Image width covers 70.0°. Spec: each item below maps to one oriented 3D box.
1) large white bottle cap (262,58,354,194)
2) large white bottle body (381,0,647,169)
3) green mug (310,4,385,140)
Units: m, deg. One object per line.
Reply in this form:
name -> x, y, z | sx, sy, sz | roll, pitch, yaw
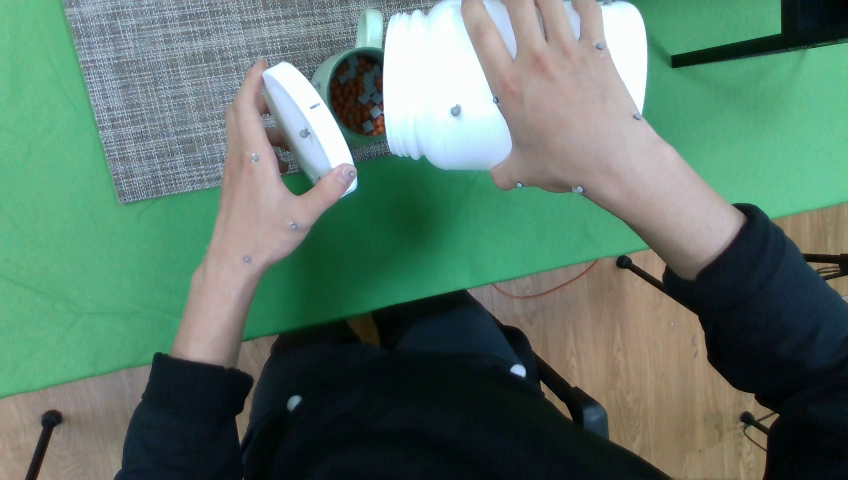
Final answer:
large white bottle cap -> -0.094, -0.091, 0.492 | 0.018, 0.114, 0.115 | -33, 107, -17
large white bottle body -> 0.066, -0.123, 0.477 | 0.184, 0.130, 0.131 | 2, 100, 5
green mug -> -0.058, -0.158, 0.575 | 0.093, 0.104, 0.125 | 5, 99, -17
